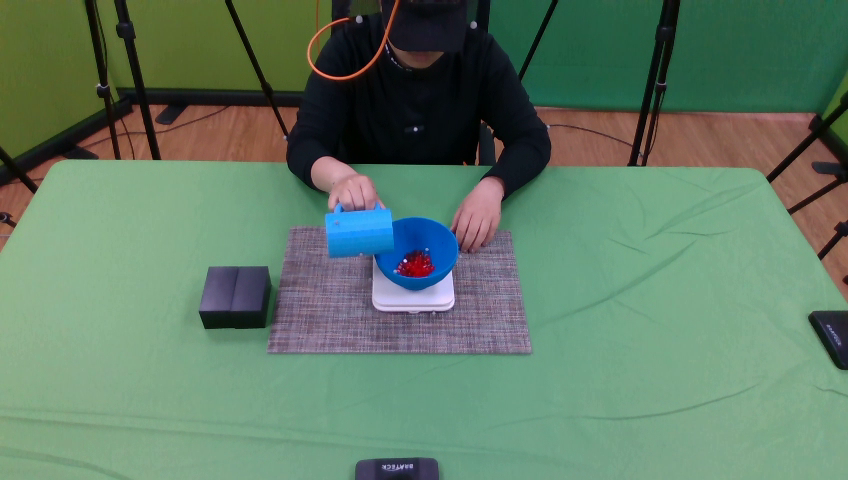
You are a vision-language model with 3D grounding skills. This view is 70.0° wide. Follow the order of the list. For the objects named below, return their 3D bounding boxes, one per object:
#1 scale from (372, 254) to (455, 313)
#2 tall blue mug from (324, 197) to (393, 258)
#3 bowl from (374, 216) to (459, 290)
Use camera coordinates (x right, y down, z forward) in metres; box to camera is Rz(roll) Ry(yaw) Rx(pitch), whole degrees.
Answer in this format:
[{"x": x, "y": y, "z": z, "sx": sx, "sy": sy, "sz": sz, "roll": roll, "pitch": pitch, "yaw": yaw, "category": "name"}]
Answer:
[{"x": -0.022, "y": 0.051, "z": 1.134, "sx": 0.149, "sy": 0.032, "sz": 0.199, "roll": 1, "pitch": 46, "yaw": -4, "category": "scale"}, {"x": -0.111, "y": -0.027, "z": 1.016, "sx": 0.108, "sy": 0.078, "sz": 0.107, "roll": -6, "pitch": 82, "yaw": -7, "category": "tall blue mug"}, {"x": -0.015, "y": 0.036, "z": 1.075, "sx": 0.151, "sy": 0.077, "sz": 0.150, "roll": 2, "pitch": 46, "yaw": -1, "category": "bowl"}]
